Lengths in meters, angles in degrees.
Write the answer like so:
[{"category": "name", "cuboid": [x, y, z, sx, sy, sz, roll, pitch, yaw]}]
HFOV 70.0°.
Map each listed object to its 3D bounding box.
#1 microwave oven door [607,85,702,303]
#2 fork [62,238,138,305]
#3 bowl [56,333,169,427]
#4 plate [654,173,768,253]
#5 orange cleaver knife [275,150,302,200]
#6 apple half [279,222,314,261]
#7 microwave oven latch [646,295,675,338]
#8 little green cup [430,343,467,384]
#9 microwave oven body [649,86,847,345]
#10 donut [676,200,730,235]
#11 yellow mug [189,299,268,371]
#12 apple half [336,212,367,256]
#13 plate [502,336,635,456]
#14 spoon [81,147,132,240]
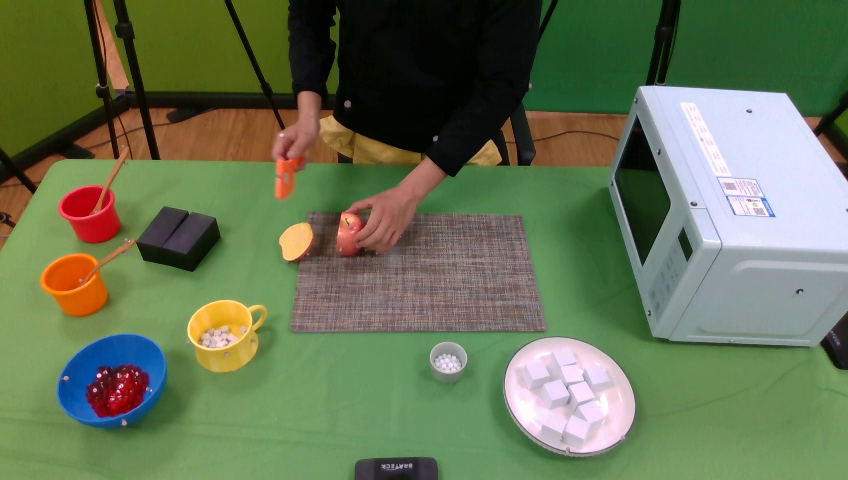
[{"category": "microwave oven door", "cuboid": [0.423, -0.094, 1.141, 0.039, 0.245, 0.353, 2, 46, -1]}, {"category": "fork", "cuboid": [-0.547, 0.053, 1.018, 0.207, 0.019, 0.028, -36, 41, 23]}, {"category": "bowl", "cuboid": [-0.456, 0.223, 0.911, 0.151, 0.077, 0.150, 3, 45, -2]}, {"category": "plate", "cuboid": [0.555, -0.049, 1.187, 0.209, 0.038, 0.208, 1, 47, -1]}, {"category": "orange cleaver knife", "cuboid": [-0.249, -0.123, 1.118, 0.012, 0.077, 0.210, 4, 17, -2]}, {"category": "apple half", "cuboid": [-0.237, 0.007, 1.158, 0.081, 0.033, 0.081, -14, 58, 23]}, {"category": "microwave oven latch", "cuboid": [0.412, 0.134, 1.061, 0.030, 0.029, 0.078, 4, 45, 1]}, {"category": "little green cup", "cuboid": [0.039, 0.203, 0.994, 0.061, 0.039, 0.061, 2, 46, -2]}, {"category": "microwave oven body", "cuboid": [0.568, -0.053, 1.118, 0.326, 0.261, 0.439, 2, 45, -1]}, {"category": "donut", "cuboid": [0.538, -0.045, 1.170, 0.099, 0.048, 0.098, 4, 31, -2]}, {"category": "yellow mug", "cuboid": [-0.316, 0.148, 1.002, 0.131, 0.064, 0.099, -33, 56, -31]}, {"category": "apple half", "cuboid": [-0.136, -0.009, 1.157, 0.053, 0.075, 0.080, 6, 41, -2]}, {"category": "plate", "cuboid": [0.225, 0.248, 0.964, 0.208, 0.039, 0.206, 2, 46, -2]}, {"category": "spoon", "cuboid": [-0.603, -0.089, 1.156, 0.041, 0.022, 0.193, 27, 95, 19]}]
